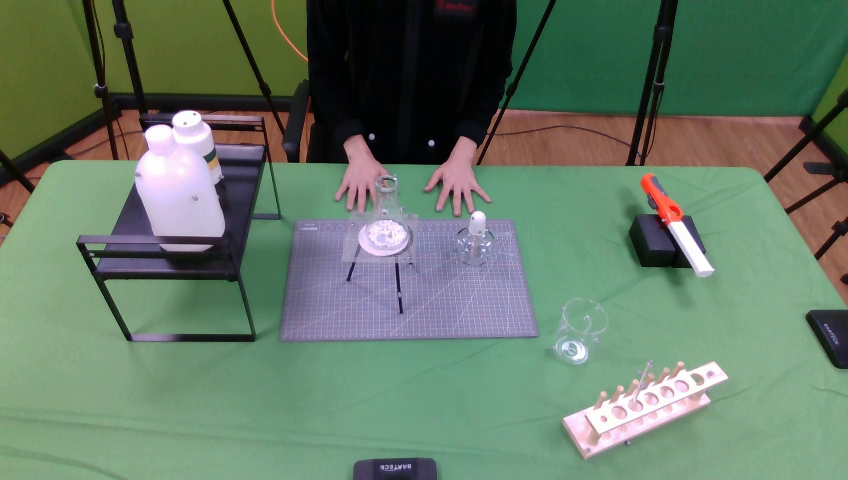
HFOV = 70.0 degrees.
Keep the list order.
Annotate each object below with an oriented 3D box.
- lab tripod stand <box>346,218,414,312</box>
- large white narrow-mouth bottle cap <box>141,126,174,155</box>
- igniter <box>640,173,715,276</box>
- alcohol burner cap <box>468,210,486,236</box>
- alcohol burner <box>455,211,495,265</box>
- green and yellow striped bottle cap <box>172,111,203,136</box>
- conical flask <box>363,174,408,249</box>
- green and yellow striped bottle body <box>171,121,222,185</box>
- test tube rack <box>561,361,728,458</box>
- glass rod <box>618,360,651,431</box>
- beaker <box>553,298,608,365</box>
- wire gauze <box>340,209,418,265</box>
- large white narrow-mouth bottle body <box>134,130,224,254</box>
[{"bbox_3d":[-0.070,0.037,1.075,0.148,0.132,0.147,1,47,-1],"label":"lab tripod stand"},{"bbox_3d":[-0.356,-0.133,0.811,0.038,0.024,0.037,2,48,-2],"label":"large white narrow-mouth bottle cap"},{"bbox_3d":[0.495,-0.039,1.204,0.057,0.025,0.274,-2,47,-12],"label":"igniter"},{"bbox_3d":[0.100,-0.034,1.119,0.034,0.048,0.033,0,52,0],"label":"alcohol burner cap"},{"bbox_3d":[0.097,-0.010,1.147,0.078,0.120,0.077,1,47,0],"label":"alcohol burner"},{"bbox_3d":[-0.374,-0.185,0.958,0.045,0.020,0.045,4,46,-4],"label":"green and yellow striped bottle cap"},{"bbox_3d":[-0.063,-0.049,0.985,0.075,0.122,0.075,2,46,-1],"label":"conical flask"},{"bbox_3d":[-0.375,-0.149,0.995,0.063,0.120,0.063,2,46,-2],"label":"green and yellow striped bottle body"},{"bbox_3d":[0.341,0.248,0.940,0.243,0.085,0.066,-15,49,-18],"label":"test tube rack"},{"bbox_3d":[0.298,0.227,0.865,0.008,0.201,0.008,-1,47,2],"label":"glass rod"},{"bbox_3d":[0.260,0.154,1.015,0.073,0.101,0.084,37,54,27],"label":"beaker"},{"bbox_3d":[-0.074,-0.006,1.024,0.121,0.011,0.124,2,48,1],"label":"wire gauze"},{"bbox_3d":[-0.358,-0.075,0.875,0.102,0.195,0.101,1,48,-1],"label":"large white narrow-mouth bottle body"}]
